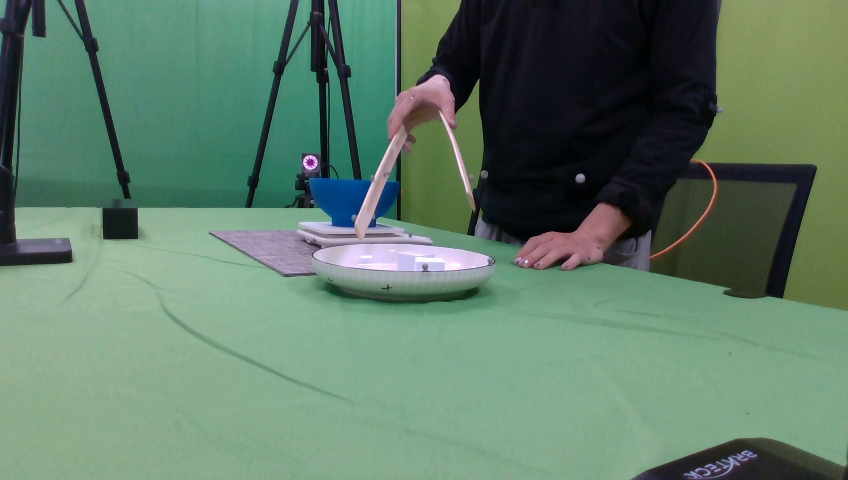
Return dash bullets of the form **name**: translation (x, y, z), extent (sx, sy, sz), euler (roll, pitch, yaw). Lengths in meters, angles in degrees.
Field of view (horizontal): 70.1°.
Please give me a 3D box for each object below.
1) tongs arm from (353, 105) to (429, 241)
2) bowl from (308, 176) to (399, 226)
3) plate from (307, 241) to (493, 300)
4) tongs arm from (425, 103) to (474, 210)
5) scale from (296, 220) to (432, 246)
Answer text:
- **tongs arm**: translation (-0.037, -0.111, 0.849), extent (0.050, 0.026, 0.384), euler (-15, 28, 15)
- **bowl**: translation (-0.116, -0.064, 1.001), extent (0.151, 0.077, 0.151), euler (2, 6, 0)
- **plate**: translation (-0.026, 0.034, 0.684), extent (0.208, 0.039, 0.207), euler (2, 7, 0)
- **tongs arm**: translation (0.033, -0.130, 0.836), extent (0.028, 0.028, 0.386), euler (-23, 27, 7)
- **scale**: translation (-0.101, -0.012, 1.017), extent (0.202, 0.031, 0.148), euler (-1, 8, -30)
